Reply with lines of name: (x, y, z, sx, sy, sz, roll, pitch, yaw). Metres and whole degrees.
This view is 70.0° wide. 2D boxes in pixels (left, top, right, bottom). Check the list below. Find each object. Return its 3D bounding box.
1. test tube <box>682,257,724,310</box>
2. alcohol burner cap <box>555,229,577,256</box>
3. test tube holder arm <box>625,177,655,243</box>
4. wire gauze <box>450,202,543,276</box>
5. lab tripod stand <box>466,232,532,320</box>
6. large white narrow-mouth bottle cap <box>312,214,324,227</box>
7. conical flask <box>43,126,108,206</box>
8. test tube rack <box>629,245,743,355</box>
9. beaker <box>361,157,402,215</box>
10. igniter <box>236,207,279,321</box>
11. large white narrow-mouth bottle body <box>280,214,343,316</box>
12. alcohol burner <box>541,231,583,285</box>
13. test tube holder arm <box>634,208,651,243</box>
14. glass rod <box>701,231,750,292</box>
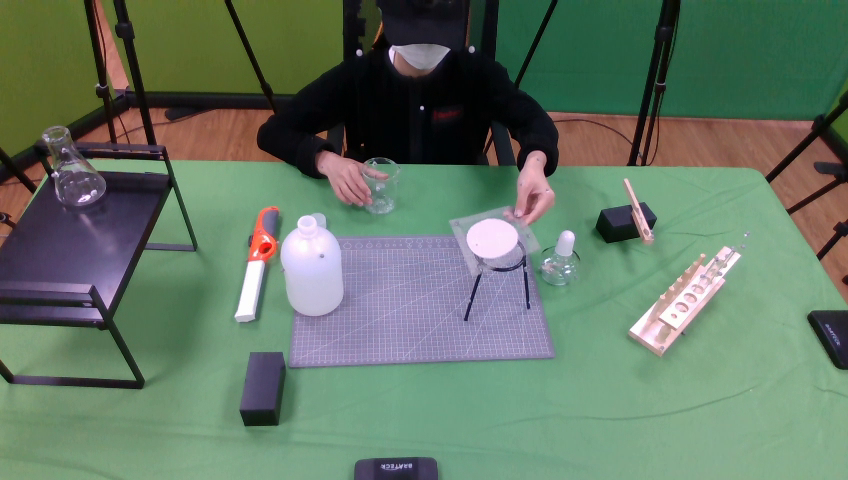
test tube: (0.475, 0.080, 1.037, 0.017, 0.151, 0.017, 2, 51, -2)
alcohol burner cap: (0.260, 0.001, 1.098, 0.034, 0.048, 0.033, 4, 39, -3)
test tube holder arm: (0.433, -0.062, 1.220, 0.013, 0.015, 0.177, 1, 47, -3)
wire gauze: (0.117, -0.006, 0.996, 0.121, 0.011, 0.124, -18, 49, -5)
lab tripod stand: (0.125, 0.059, 1.065, 0.148, 0.132, 0.147, 1, 45, 0)
large white narrow-mouth bottle cap: (-0.219, -0.033, 1.214, 0.038, 0.024, 0.037, 2, 46, -2)
conical flask: (-0.555, -0.119, 0.953, 0.075, 0.122, 0.075, 2, 46, -2)
test tube rack: (0.474, 0.095, 1.091, 0.242, 0.085, 0.066, -34, 56, -31)
beaker: (-0.087, -0.109, 1.242, 0.084, 0.101, 0.073, -8, 47, -12)
igniter: (-0.309, 0.036, 1.137, 0.057, 0.025, 0.274, -7, 46, 5)
large white narrow-mouth bottle body: (-0.190, 0.035, 1.025, 0.102, 0.195, 0.101, 2, 46, -2)
alcohol burner: (0.258, 0.028, 1.123, 0.078, 0.120, 0.077, 1, 48, -1)
test tube holder arm: (0.428, -0.030, 1.189, 0.010, 0.015, 0.087, 1, 47, -2)
glass rod: (0.519, 0.045, 1.050, 0.008, 0.201, 0.008, 0, 55, 0)
